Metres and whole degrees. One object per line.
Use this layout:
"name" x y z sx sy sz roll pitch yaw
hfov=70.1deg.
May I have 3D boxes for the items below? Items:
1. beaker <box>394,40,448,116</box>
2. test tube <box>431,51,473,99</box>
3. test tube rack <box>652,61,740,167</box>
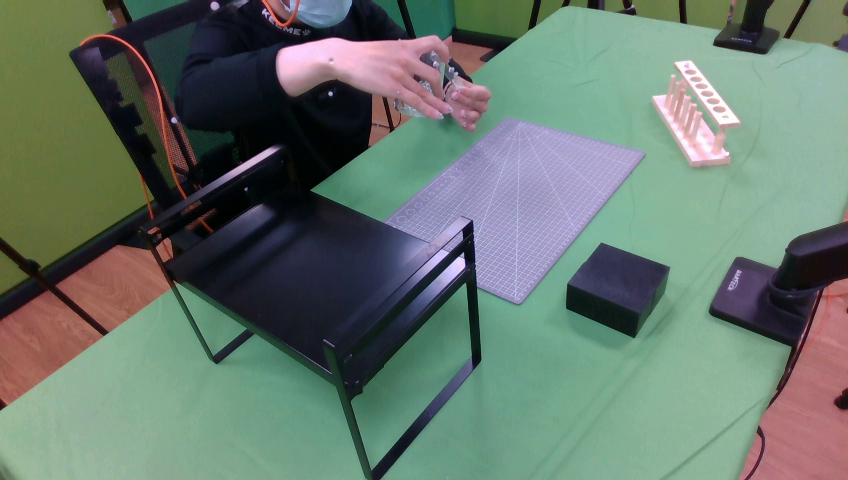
"beaker" -0.004 -0.239 0.894 0.073 0.100 0.084 22 27 32
"test tube" 0.051 -0.281 1.040 0.017 0.152 0.017 -7 73 25
"test tube rack" 0.499 -0.242 1.130 0.067 0.085 0.241 -5 41 3
